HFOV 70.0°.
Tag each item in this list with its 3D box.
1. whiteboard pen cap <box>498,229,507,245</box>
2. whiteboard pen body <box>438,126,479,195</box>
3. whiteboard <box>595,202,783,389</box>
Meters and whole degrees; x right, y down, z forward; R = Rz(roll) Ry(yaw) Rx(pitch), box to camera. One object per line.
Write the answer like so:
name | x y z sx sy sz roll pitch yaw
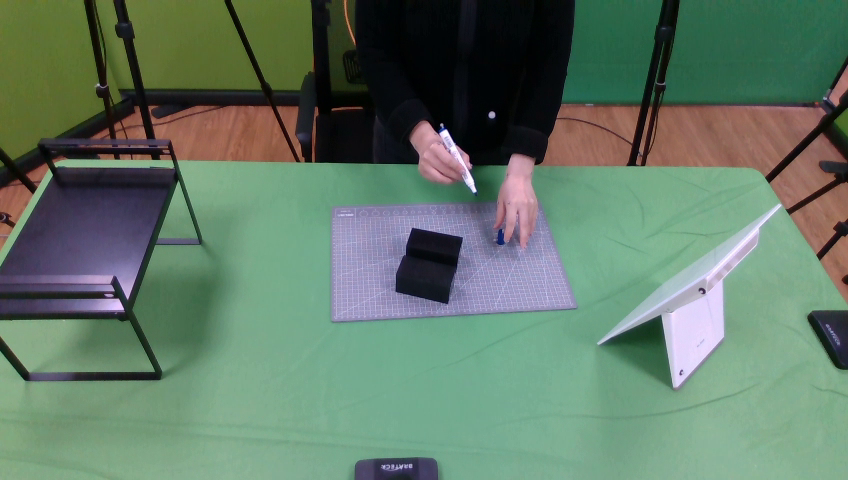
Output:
whiteboard pen cap | 0.156 -0.005 1.203 0.018 0.033 0.018 1 43 -1
whiteboard pen body | 0.065 -0.144 1.113 0.017 0.017 0.141 -31 93 -29
whiteboard | 0.459 0.112 0.968 0.217 0.306 0.143 -31 74 -29
